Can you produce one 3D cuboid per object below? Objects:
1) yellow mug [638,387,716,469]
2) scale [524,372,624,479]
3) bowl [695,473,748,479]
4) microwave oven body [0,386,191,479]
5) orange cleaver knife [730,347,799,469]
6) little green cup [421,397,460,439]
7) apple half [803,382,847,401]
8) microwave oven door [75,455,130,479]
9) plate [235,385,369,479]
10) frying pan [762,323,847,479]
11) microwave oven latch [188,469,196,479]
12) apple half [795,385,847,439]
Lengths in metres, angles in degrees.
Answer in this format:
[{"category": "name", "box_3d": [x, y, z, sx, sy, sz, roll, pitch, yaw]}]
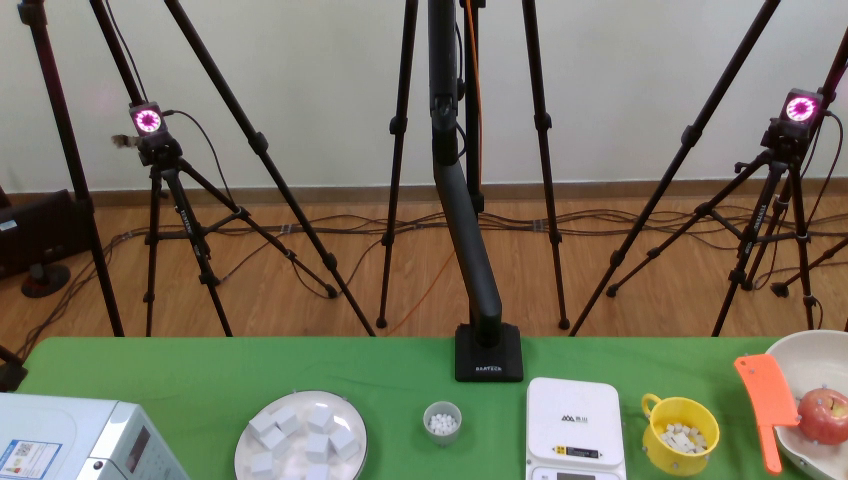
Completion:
[{"category": "yellow mug", "box_3d": [0.382, 0.282, 0.943, 0.100, 0.064, 0.129, -24, 46, -18]}, {"category": "scale", "box_3d": [0.234, 0.303, 0.958, 0.148, 0.032, 0.199, 3, 44, 8]}, {"category": "bowl", "box_3d": [0.406, 0.400, 0.808, 0.151, 0.077, 0.150, -2, 44, 3]}, {"category": "microwave oven body", "box_3d": [-0.534, 0.426, 0.712, 0.326, 0.262, 0.437, 2, 44, 6]}, {"category": "orange cleaver knife", "box_3d": [0.522, 0.246, 0.917, 0.077, 0.012, 0.209, 2, 44, 10]}, {"category": "little green cup", "box_3d": [0.028, 0.290, 0.982, 0.061, 0.039, 0.061, -2, 43, 3]}, {"category": "apple half", "box_3d": [0.632, 0.250, 0.945, 0.080, 0.082, 0.033, 32, 58, 32]}, {"category": "microwave oven door", "box_3d": [-0.394, 0.455, 0.663, 0.039, 0.246, 0.352, 2, 44, 6]}, {"category": "plate", "box_3d": [-0.189, 0.327, 0.959, 0.207, 0.039, 0.205, -2, 43, 2]}, {"category": "frying pan", "box_3d": [0.700, 0.314, 0.858, 0.307, 0.104, 0.482, -19, 37, -14]}, {"category": "microwave oven latch", "box_3d": [-0.363, 0.379, 0.890, 0.030, 0.030, 0.078, 4, 45, 8]}, {"category": "apple half", "box_3d": [0.606, 0.271, 0.926, 0.080, 0.075, 0.053, 34, 59, 30]}]
